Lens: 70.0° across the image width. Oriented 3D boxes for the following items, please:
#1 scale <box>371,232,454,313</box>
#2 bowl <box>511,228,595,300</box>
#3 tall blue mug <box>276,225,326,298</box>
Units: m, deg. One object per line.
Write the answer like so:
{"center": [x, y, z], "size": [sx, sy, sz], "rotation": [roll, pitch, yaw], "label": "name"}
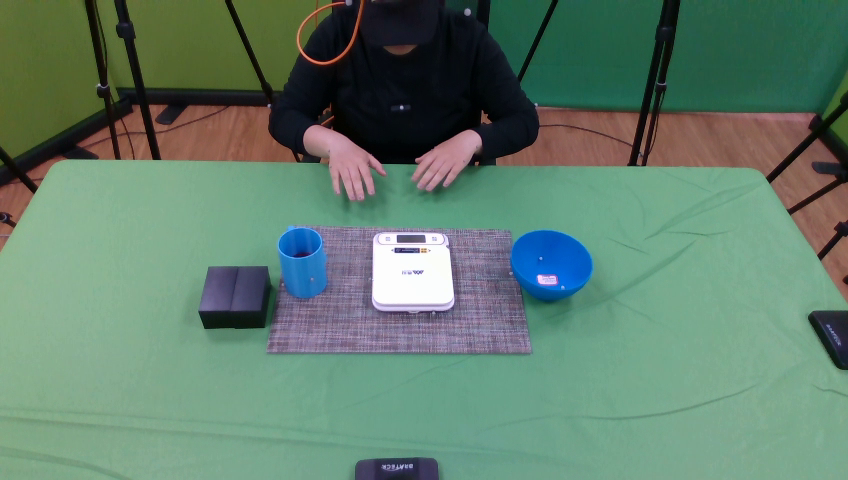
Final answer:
{"center": [-0.023, 0.050, 1.134], "size": [0.149, 0.032, 0.199], "rotation": [1, 46, -4], "label": "scale"}
{"center": [0.230, 0.058, 1.118], "size": [0.151, 0.077, 0.150], "rotation": [2, 46, -2], "label": "bowl"}
{"center": [-0.228, 0.033, 1.083], "size": [0.107, 0.108, 0.077], "rotation": [30, 52, 23], "label": "tall blue mug"}
